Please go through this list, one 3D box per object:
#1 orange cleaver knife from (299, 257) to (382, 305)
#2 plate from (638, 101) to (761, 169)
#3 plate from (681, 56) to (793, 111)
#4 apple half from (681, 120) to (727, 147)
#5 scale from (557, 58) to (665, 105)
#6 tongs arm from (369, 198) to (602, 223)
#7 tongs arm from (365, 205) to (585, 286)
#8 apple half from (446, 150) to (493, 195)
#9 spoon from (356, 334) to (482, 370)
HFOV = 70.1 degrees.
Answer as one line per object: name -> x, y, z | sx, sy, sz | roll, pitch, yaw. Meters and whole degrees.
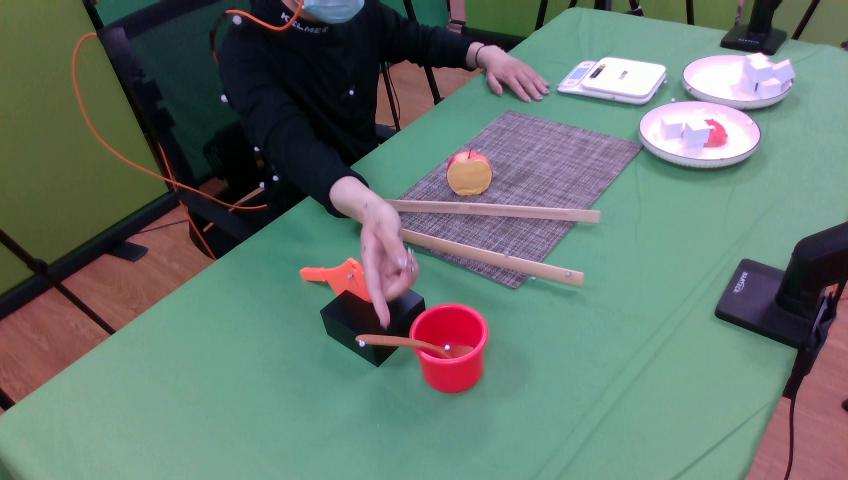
orange cleaver knife -> -0.124, 0.061, 0.872 | 0.012, 0.077, 0.210 | -38, 17, -30
plate -> 0.500, -0.189, 1.111 | 0.209, 0.038, 0.208 | -4, 41, 4
plate -> 0.636, -0.317, 1.239 | 0.207, 0.039, 0.206 | -4, 40, 4
apple half -> 0.518, -0.202, 1.115 | 0.081, 0.033, 0.081 | -1, 40, 2
scale -> 0.406, -0.348, 1.314 | 0.199, 0.032, 0.149 | 19, 47, 28
tongs arm -> 0.097, -0.047, 1.008 | 0.386, 0.028, 0.028 | 3, 46, 13
tongs arm -> 0.067, 0.004, 0.951 | 0.382, 0.026, 0.051 | 13, 45, 23
apple half -> 0.080, -0.123, 1.065 | 0.081, 0.075, 0.053 | -7, 37, 7
spoon -> -0.002, 0.130, 0.731 | 0.195, 0.021, 0.041 | 22, 28, -39
